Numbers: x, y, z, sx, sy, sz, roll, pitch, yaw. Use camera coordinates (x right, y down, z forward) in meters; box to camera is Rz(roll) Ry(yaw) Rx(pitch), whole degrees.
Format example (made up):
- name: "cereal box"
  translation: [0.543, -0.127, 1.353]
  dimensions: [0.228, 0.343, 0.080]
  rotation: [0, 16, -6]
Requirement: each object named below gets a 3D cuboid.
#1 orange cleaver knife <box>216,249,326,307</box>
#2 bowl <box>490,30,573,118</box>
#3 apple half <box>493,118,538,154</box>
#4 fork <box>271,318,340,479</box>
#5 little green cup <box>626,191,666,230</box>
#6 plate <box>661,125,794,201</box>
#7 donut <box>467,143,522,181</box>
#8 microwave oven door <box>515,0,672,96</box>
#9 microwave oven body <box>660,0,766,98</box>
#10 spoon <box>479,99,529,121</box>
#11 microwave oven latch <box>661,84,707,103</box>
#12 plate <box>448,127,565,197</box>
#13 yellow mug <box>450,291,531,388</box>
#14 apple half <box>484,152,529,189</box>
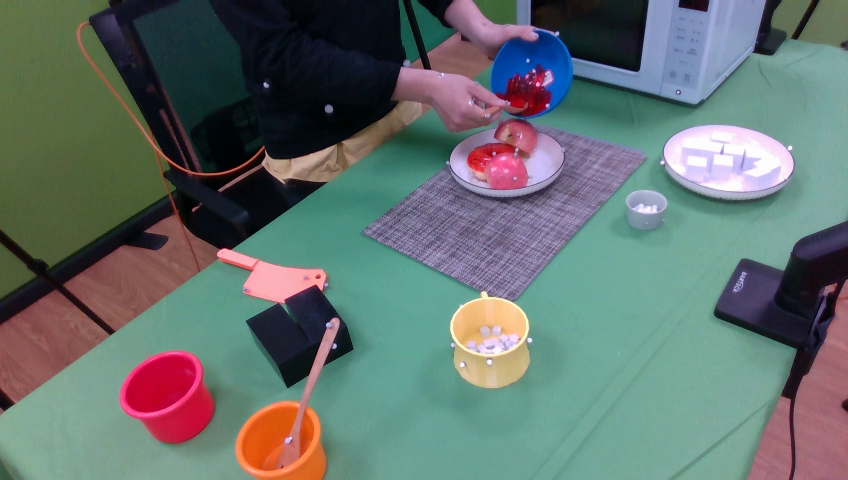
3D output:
- name: "orange cleaver knife"
  translation: [-0.248, 0.058, 0.945]
  dimensions: [0.210, 0.012, 0.077]
  rotation: [13, 50, 20]
- name: "bowl"
  translation: [0.202, -0.288, 1.078]
  dimensions: [0.150, 0.151, 0.077]
  rotation: [22, 14, 30]
- name: "apple half"
  translation: [0.175, -0.196, 1.114]
  dimensions: [0.080, 0.053, 0.075]
  rotation: [29, 12, 34]
- name: "fork"
  translation: [-0.132, 0.186, 0.676]
  dimensions: [0.028, 0.019, 0.207]
  rotation: [18, 90, 28]
- name: "little green cup"
  translation: [0.352, -0.046, 0.963]
  dimensions: [0.061, 0.039, 0.061]
  rotation: [-4, 40, 4]
- name: "plate"
  translation: [0.513, -0.128, 1.035]
  dimensions: [0.207, 0.039, 0.206]
  rotation: [-4, 40, 4]
- name: "donut"
  translation: [0.127, -0.143, 1.090]
  dimensions: [0.099, 0.048, 0.098]
  rotation: [-7, 35, 5]
- name: "microwave oven door"
  translation: [0.344, -0.455, 1.259]
  dimensions: [0.353, 0.245, 0.039]
  rotation: [26, 51, 33]
- name: "microwave oven body"
  translation: [0.472, -0.513, 1.317]
  dimensions: [0.438, 0.261, 0.327]
  rotation: [26, 51, 34]
- name: "spoon"
  translation: [0.130, -0.219, 1.008]
  dimensions: [0.041, 0.021, 0.194]
  rotation: [15, 21, 24]
- name: "microwave oven latch"
  translation: [0.517, -0.296, 1.204]
  dimensions: [0.078, 0.029, 0.030]
  rotation: [27, 52, 35]
- name: "plate"
  translation: [0.150, -0.138, 1.097]
  dimensions: [0.209, 0.038, 0.208]
  rotation: [-4, 40, 4]
- name: "yellow mug"
  translation: [0.085, 0.120, 0.786]
  dimensions: [0.100, 0.064, 0.130]
  rotation: [-7, 39, 1]
- name: "apple half"
  translation: [0.144, -0.116, 1.031]
  dimensions: [0.081, 0.033, 0.081]
  rotation: [3, 77, -11]
